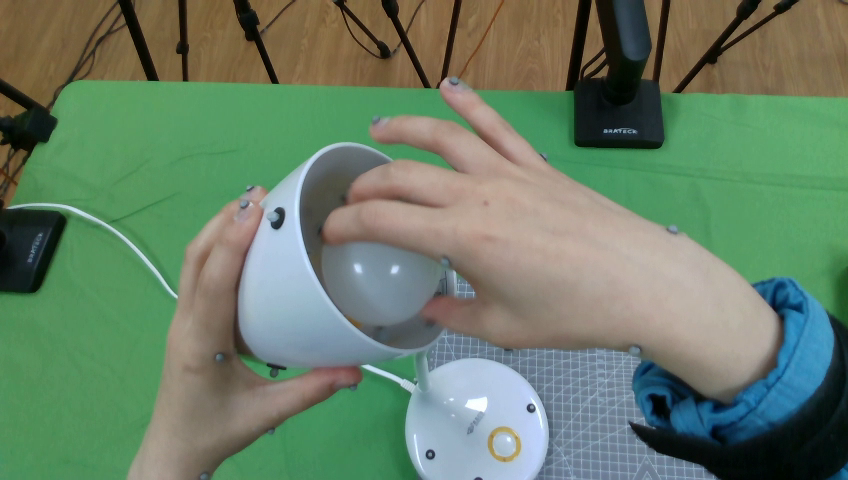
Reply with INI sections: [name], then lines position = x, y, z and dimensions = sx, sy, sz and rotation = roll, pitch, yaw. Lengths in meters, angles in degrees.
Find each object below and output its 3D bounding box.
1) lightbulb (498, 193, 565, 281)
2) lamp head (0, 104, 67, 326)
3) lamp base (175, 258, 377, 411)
[lightbulb]
position = 0.110, -0.006, 0.652
dimensions = 0.059, 0.060, 0.106
rotation = -23, 64, -5
[lamp head]
position = -0.221, 0.001, 0.247
dimensions = 0.113, 0.122, 0.111
rotation = 17, 63, -38
[lamp base]
position = -0.143, 0.079, 0.564
dimensions = 0.179, 0.181, 0.160
rotation = 7, 78, 4
